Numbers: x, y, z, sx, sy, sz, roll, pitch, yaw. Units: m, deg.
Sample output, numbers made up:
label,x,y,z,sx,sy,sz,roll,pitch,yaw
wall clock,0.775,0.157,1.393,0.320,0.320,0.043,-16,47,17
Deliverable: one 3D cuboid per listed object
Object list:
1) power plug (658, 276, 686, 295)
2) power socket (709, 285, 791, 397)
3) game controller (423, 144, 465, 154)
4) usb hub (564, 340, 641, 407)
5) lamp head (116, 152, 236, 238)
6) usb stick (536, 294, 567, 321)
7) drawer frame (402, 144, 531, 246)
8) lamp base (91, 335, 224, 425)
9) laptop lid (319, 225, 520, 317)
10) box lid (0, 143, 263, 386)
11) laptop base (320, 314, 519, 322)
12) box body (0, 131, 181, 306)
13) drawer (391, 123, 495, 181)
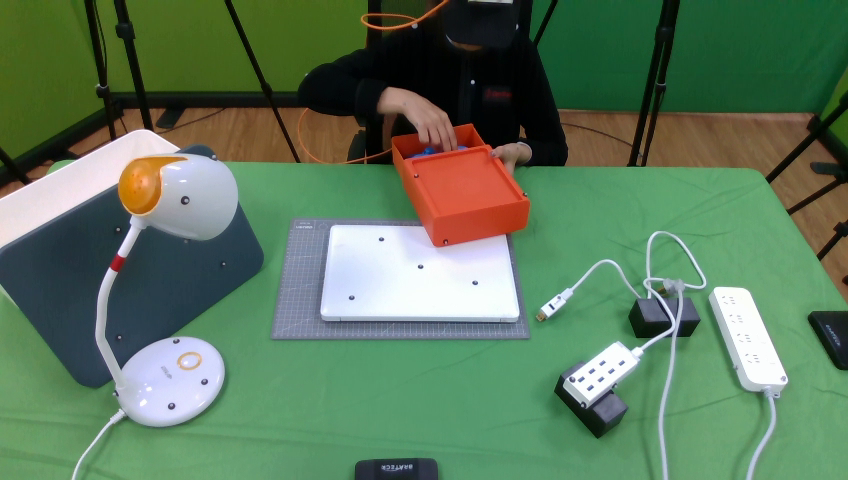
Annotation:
label,x,y,z,sx,sy,sz,roll,pitch,yaw
power plug,0.450,0.087,1.113,0.073,0.052,0.035,-13,71,-55
power socket,0.568,0.168,1.064,0.072,0.033,0.225,2,46,0
game controller,0.037,-0.179,1.346,0.155,0.052,0.096,-12,42,-12
usb hub,0.278,0.205,0.944,0.125,0.025,0.049,-27,52,-28
lamp head,-0.315,-0.057,0.747,0.112,0.112,0.123,26,10,20
usb stick,0.226,0.123,1.083,0.059,0.027,0.021,-38,77,-8
drawer frame,0.080,-0.098,1.231,0.202,0.083,0.212,-11,43,-14
lamp base,-0.401,0.170,0.892,0.160,0.181,0.179,30,53,23
laptop lid,-0.008,0.052,1.131,0.357,0.013,0.240,2,44,-2
box lid,-0.444,0.032,0.979,0.015,0.264,0.371,13,42,41
laptop base,-0.009,0.062,1.138,0.354,0.023,0.234,1,43,-3
box body,-0.550,-0.007,1.068,0.253,0.161,0.363,30,51,23
drawer,0.049,-0.158,1.305,0.195,0.073,0.210,-11,42,-13
